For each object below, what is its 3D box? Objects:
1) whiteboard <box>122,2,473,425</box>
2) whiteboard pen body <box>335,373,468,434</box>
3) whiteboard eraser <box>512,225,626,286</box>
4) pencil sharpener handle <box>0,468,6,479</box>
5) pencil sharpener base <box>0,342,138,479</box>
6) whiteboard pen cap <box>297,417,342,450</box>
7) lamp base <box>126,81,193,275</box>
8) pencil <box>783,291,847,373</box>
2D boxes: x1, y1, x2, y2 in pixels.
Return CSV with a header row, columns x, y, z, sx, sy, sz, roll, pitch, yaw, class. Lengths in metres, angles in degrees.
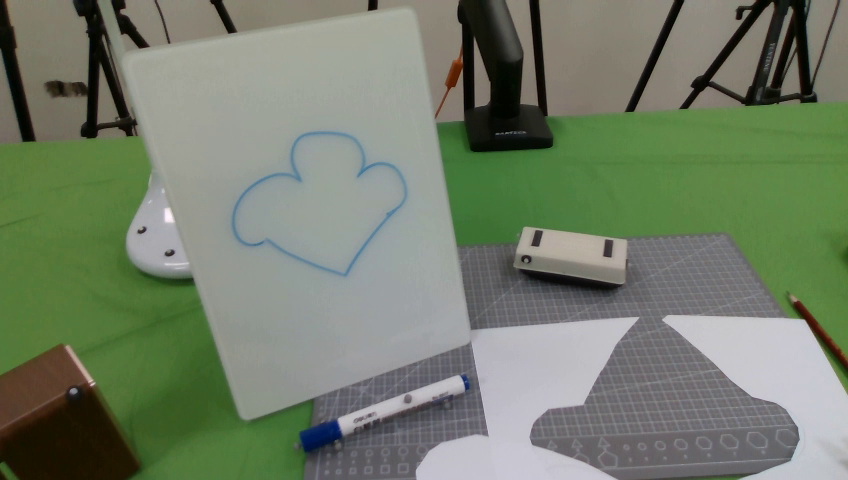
x,y,z,sx,sy,sz,roll,pitch,yaw,class
-0.102,-0.032,0.549,0.218,0.307,0.142,-16,20,-16,whiteboard
-0.029,0.139,0.502,0.141,0.017,0.017,-16,40,-16,whiteboard pen body
0.153,0.017,0.636,0.112,0.042,0.055,9,40,14,whiteboard eraser
-0.307,0.157,0.409,0.030,0.068,0.035,-32,34,-32,pencil sharpener handle
-0.272,0.142,0.446,0.077,0.108,0.061,-32,47,-32,pencil sharpener base
-0.083,0.155,0.485,0.033,0.018,0.018,-17,40,-16,whiteboard pen cap
-0.277,-0.078,0.671,0.177,0.182,0.160,24,45,33,lamp base
0.374,0.108,0.539,0.012,0.012,0.192,-5,36,-3,pencil
